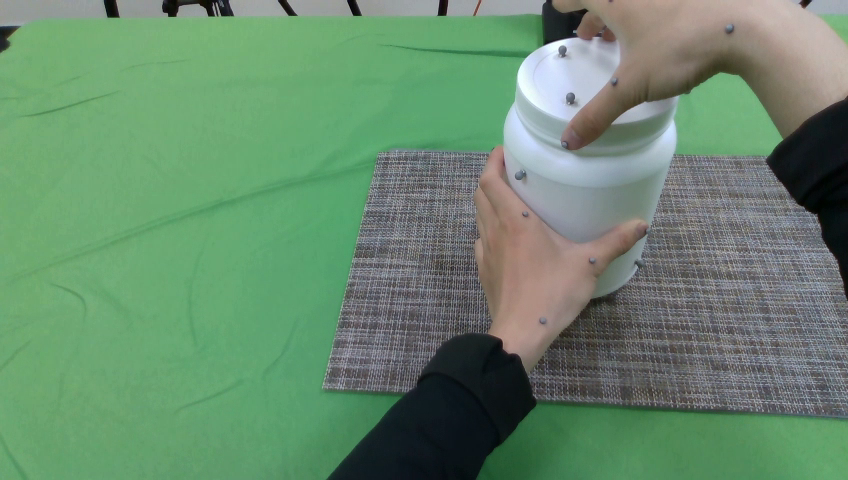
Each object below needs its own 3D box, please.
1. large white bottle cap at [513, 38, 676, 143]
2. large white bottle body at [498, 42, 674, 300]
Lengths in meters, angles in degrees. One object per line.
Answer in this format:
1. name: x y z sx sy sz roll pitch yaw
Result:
1. large white bottle cap: 0.123 -0.112 0.441 0.115 0.018 0.113 -1 47 2
2. large white bottle body: 0.128 -0.053 0.502 0.130 0.186 0.129 -2 47 2
